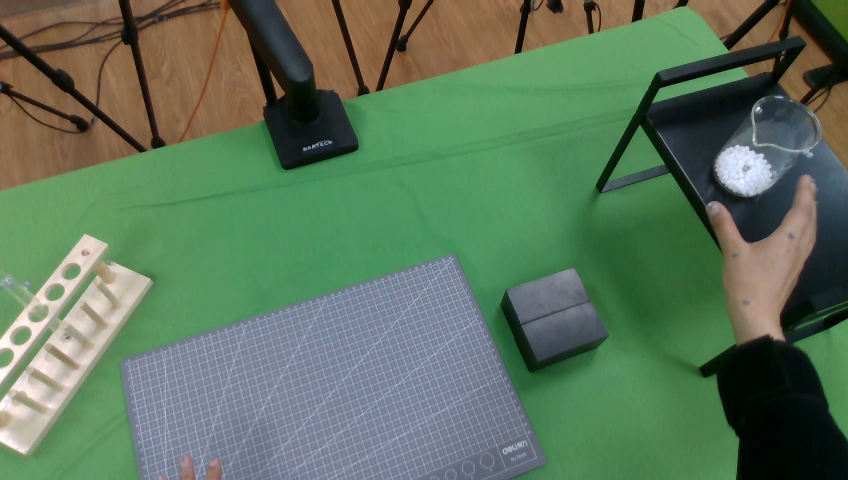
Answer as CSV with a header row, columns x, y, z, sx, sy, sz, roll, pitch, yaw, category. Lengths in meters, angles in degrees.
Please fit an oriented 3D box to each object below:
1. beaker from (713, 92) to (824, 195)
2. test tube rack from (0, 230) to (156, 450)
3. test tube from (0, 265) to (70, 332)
x,y,z,sx,sy,sz,roll,pitch,yaw,category
0.376,-0.101,0.675,0.084,0.101,0.073,-30,68,-17,beaker
-0.433,0.115,0.720,0.066,0.086,0.241,23,64,8,test tube rack
-0.440,0.070,0.687,0.017,0.151,0.017,1,59,-2,test tube
